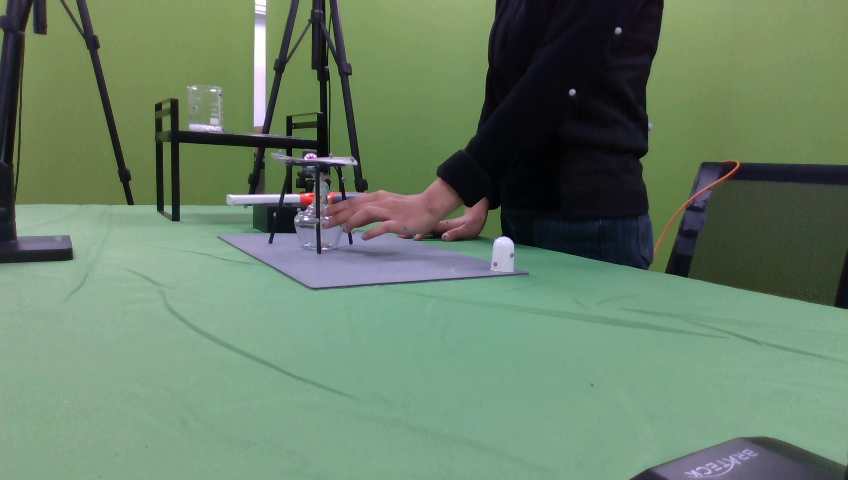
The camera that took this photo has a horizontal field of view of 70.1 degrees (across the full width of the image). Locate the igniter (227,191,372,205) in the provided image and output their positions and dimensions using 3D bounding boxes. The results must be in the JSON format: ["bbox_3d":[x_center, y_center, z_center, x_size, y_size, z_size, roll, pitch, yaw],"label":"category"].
[{"bbox_3d":[-0.232,-0.080,1.161,0.278,0.025,0.057,-3,12,-29],"label":"igniter"}]

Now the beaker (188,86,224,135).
[{"bbox_3d":[-0.474,-0.280,1.311,0.074,0.100,0.084,5,8,25],"label":"beaker"}]

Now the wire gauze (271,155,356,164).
[{"bbox_3d":[-0.167,-0.122,0.917,0.125,0.011,0.121,0,7,-9],"label":"wire gauze"}]

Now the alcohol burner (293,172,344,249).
[{"bbox_3d":[-0.160,-0.045,0.921,0.078,0.119,0.078,4,7,0],"label":"alcohol burner"}]

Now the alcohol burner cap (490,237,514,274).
[{"bbox_3d":[0.104,0.020,0.793,0.034,0.048,0.034,3,6,0],"label":"alcohol burner cap"}]

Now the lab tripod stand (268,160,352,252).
[{"bbox_3d":[-0.171,-0.055,0.921,0.148,0.131,0.148,1,9,0],"label":"lab tripod stand"}]

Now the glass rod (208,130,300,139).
[{"bbox_3d":[-0.367,-0.231,1.321,0.201,0.008,0.008,-1,8,-30],"label":"glass rod"}]
